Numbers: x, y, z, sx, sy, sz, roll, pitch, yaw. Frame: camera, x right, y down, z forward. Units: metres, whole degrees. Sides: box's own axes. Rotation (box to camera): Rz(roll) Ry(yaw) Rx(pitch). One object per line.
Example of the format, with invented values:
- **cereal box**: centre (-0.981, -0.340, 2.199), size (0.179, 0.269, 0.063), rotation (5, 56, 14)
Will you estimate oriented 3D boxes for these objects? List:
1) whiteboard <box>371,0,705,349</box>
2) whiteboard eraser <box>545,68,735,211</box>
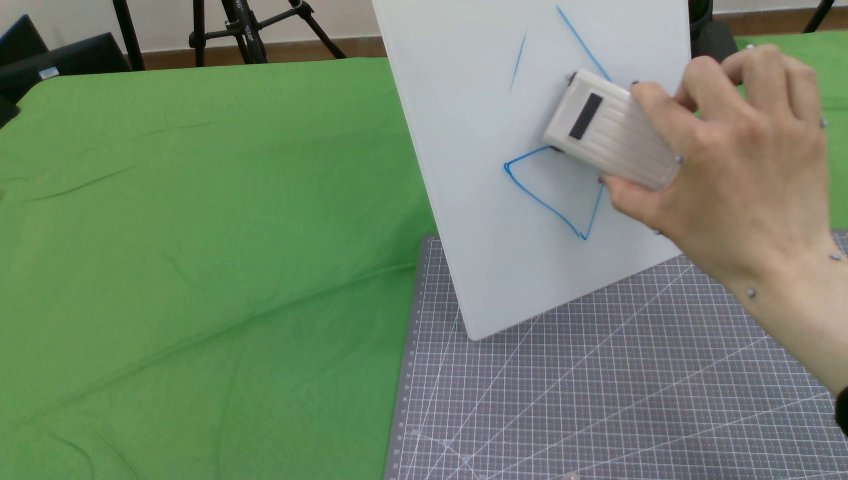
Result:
- **whiteboard**: centre (0.078, -0.109, 0.482), size (0.217, 0.308, 0.142), rotation (-21, 27, -8)
- **whiteboard eraser**: centre (0.143, -0.068, 0.408), size (0.112, 0.056, 0.042), rotation (28, 18, 5)
